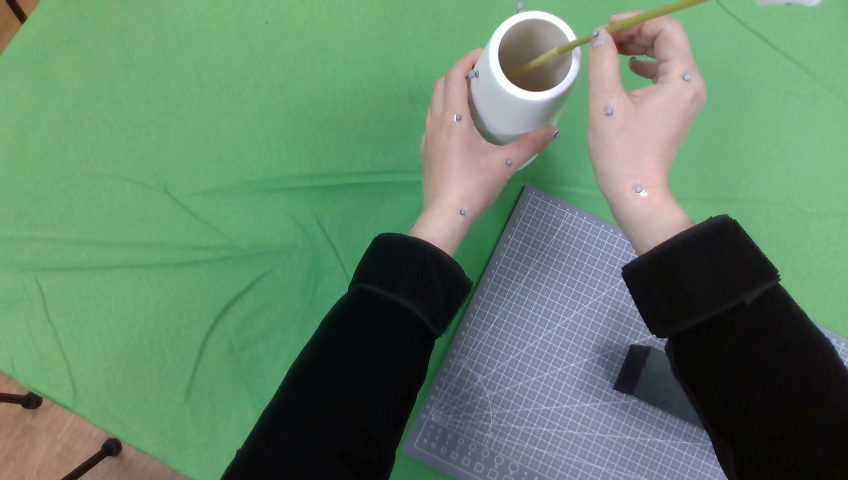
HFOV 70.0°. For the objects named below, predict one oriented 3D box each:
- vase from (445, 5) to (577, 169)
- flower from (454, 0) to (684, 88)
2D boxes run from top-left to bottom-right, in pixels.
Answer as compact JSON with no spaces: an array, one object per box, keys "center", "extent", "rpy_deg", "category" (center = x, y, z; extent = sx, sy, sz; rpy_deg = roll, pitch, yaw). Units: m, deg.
[{"center":[0.075,-0.129,0.539],"extent":[0.098,0.200,0.098],"rpy_deg":[1,83,-4],"category":"vase"},{"center":[0.113,-0.143,0.418],"extent":[0.038,0.359,0.044],"rpy_deg":[43,72,-22],"category":"flower"}]
